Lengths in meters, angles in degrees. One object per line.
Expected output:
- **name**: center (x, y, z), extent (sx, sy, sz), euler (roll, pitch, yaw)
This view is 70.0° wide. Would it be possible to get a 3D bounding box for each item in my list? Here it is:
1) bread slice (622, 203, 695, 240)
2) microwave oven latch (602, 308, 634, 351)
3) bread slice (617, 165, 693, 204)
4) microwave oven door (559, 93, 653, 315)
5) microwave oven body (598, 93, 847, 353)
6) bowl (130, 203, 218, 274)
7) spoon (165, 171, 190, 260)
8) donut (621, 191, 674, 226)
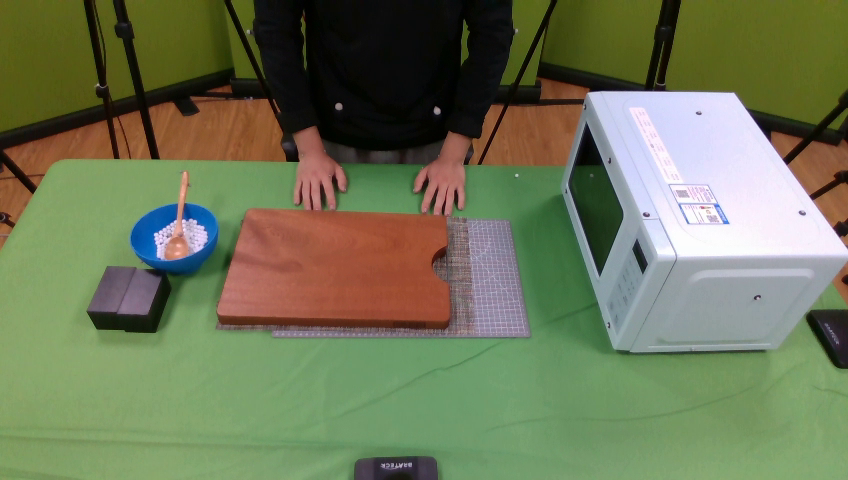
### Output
- **bread slice**: center (0.465, -0.040, 1.201), extent (0.131, 0.019, 0.104), euler (-3, 36, 8)
- **microwave oven latch**: center (0.332, 0.153, 1.044), extent (0.030, 0.029, 0.078), euler (-1, 45, -4)
- **bread slice**: center (0.442, -0.105, 1.151), extent (0.135, 0.018, 0.106), euler (-1, 41, -25)
- **microwave oven door**: center (0.327, -0.074, 1.123), extent (0.039, 0.245, 0.353), euler (-1, 46, -5)
- **microwave oven body**: center (0.475, -0.041, 1.110), extent (0.326, 0.261, 0.438), euler (-1, 45, -4)
- **bowl**: center (-0.450, 0.010, 1.117), extent (0.151, 0.077, 0.150), euler (3, 45, -3)
- **spoon**: center (-0.452, -0.046, 1.129), extent (0.041, 0.022, 0.193), euler (-1, 69, -2)
- **donut**: center (0.433, -0.061, 1.174), extent (0.099, 0.048, 0.098), euler (-7, 27, 4)
